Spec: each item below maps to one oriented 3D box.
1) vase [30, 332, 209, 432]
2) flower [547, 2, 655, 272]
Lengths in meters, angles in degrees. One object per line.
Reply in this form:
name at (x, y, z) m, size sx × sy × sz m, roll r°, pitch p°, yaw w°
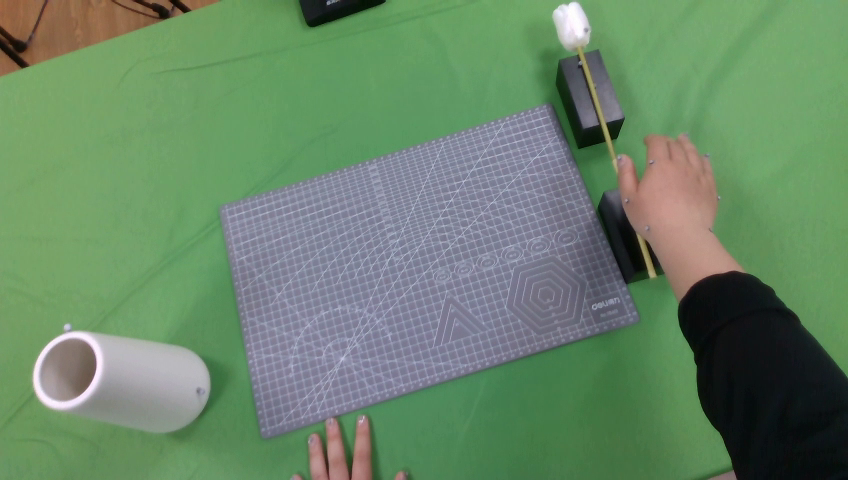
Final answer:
vase at (-0.303, 0.146, 0.626) m, size 0.098 × 0.201 × 0.097 m, roll -2°, pitch 71°, yaw 5°
flower at (0.206, -0.130, 0.703) m, size 0.044 × 0.038 × 0.359 m, roll 0°, pitch 66°, yaw -26°
